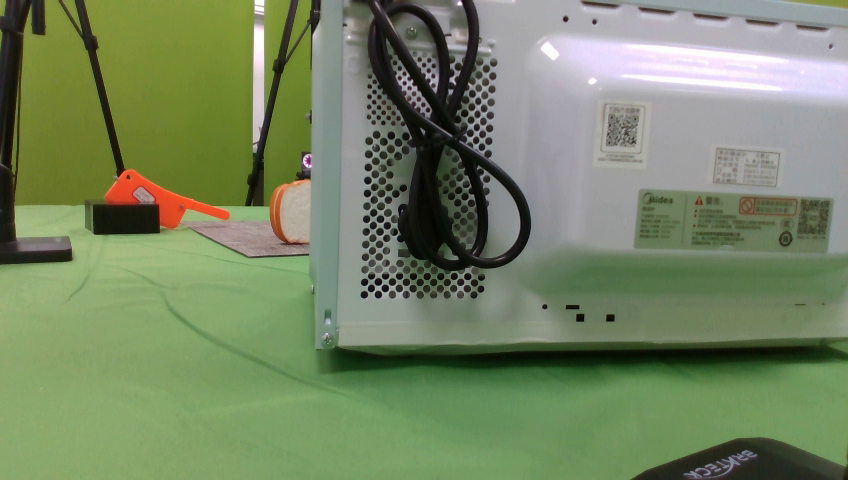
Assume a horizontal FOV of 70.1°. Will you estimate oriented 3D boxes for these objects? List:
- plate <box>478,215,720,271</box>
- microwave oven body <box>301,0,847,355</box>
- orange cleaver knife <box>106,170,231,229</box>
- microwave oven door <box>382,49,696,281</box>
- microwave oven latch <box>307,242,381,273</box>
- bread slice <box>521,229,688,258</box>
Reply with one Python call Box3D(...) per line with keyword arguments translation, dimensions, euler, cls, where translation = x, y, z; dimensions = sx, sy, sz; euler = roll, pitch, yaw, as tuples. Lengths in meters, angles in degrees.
Box3D(translation=(0.152, 0.000, 0.545), dimensions=(0.208, 0.039, 0.207), euler=(0, 5, 0), cls="plate")
Box3D(translation=(0.120, -0.053, 0.535), dimensions=(0.443, 0.260, 0.325), euler=(2, 7, -11), cls="microwave oven body")
Box3D(translation=(-0.458, -0.060, 1.097), dimensions=(0.212, 0.077, 0.012), euler=(23, -4, -38), cls="orange cleaver knife")
Box3D(translation=(0.135, -0.077, 0.685), dimensions=(0.357, 0.243, 0.039), euler=(1, 8, -12), cls="microwave oven door")
Box3D(translation=(-0.086, 0.019, 0.656), dimensions=(0.079, 0.029, 0.030), euler=(2, 7, -10), cls="microwave oven latch")
Box3D(translation=(0.173, 0.003, 0.564), dimensions=(0.134, 0.018, 0.107), euler=(-2, 4, 30), cls="bread slice")
